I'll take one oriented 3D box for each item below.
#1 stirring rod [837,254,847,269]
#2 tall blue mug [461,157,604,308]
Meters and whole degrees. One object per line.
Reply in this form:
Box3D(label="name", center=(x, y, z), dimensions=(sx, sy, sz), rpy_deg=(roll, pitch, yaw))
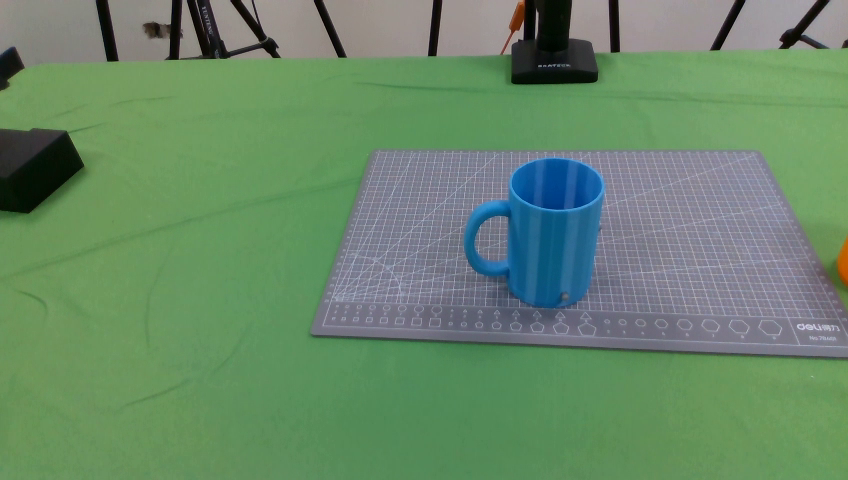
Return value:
Box3D(label="stirring rod", center=(0.426, -0.015, 0.483), dimensions=(0.176, 0.006, 0.014), rpy_deg=(-32, 27, 38))
Box3D(label="tall blue mug", center=(0.094, 0.001, 0.514), dimensions=(0.107, 0.109, 0.077), rpy_deg=(-25, 45, -22))
